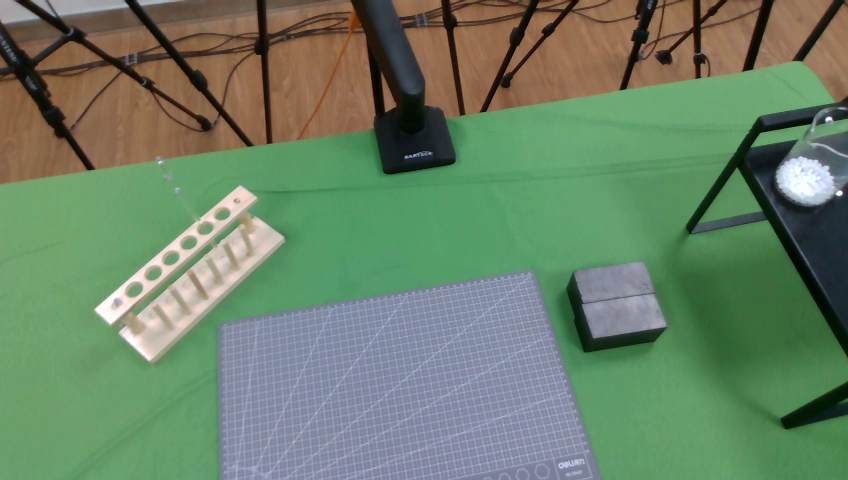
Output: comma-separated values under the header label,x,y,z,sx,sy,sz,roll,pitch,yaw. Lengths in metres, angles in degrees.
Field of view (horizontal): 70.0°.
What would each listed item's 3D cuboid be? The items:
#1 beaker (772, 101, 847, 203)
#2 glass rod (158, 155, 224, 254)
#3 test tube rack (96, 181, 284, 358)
label,x,y,z,sx,sy,sz,roll,pitch,yaw
beaker,0.455,-0.096,0.696,0.084,0.101,0.073,-11,60,-6
glass rod,-0.302,-0.040,0.793,0.008,0.201,0.008,-3,54,5
test tube rack,-0.308,0.037,0.825,0.066,0.086,0.242,34,65,19
